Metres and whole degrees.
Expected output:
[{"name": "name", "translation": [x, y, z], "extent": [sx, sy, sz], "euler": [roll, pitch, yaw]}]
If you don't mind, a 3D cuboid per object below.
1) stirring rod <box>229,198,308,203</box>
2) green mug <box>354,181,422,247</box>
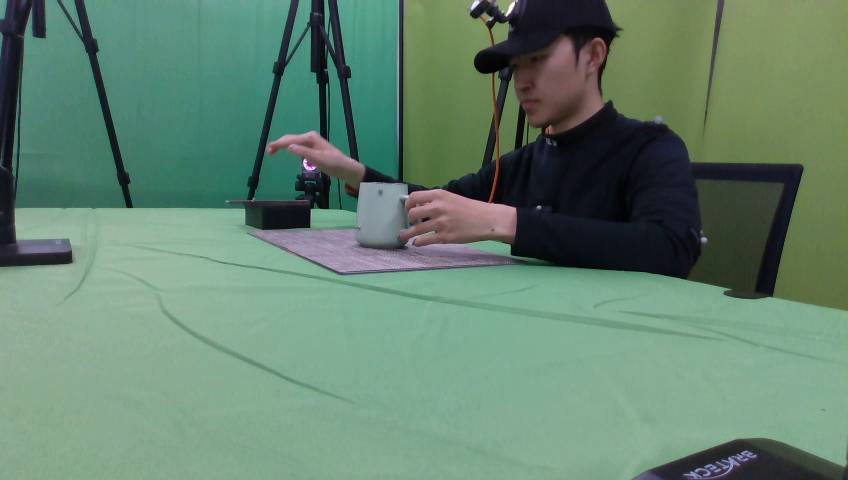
[{"name": "stirring rod", "translation": [-0.317, -0.082, 1.246], "extent": [0.177, 0.006, 0.014], "euler": [-5, 10, -43]}, {"name": "green mug", "translation": [-0.055, -0.042, 0.988], "extent": [0.125, 0.105, 0.093], "euler": [7, 8, 35]}]
